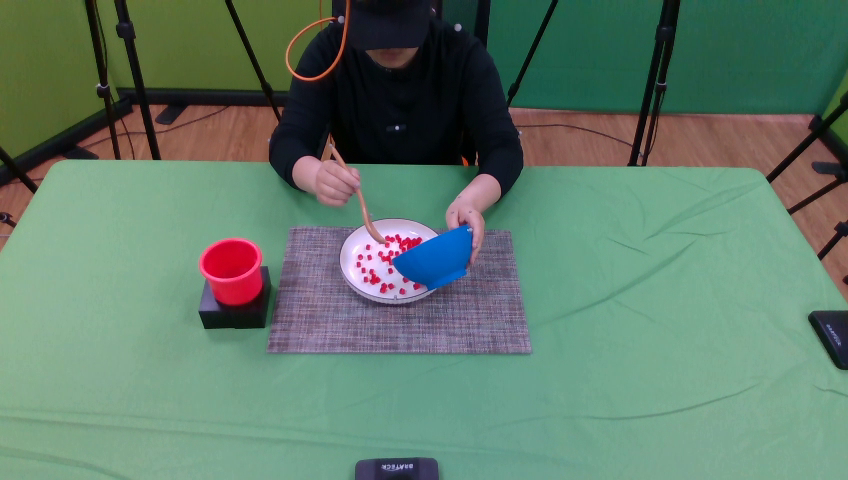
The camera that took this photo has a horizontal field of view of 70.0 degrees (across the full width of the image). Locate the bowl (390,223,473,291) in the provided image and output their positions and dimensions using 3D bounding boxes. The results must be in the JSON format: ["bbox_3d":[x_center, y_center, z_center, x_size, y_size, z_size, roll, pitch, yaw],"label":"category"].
[{"bbox_3d":[0.025,0.038,1.042,0.151,0.151,0.076,-23,85,-23],"label":"bowl"}]

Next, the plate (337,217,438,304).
[{"bbox_3d":[-0.058,0.042,1.137,0.208,0.039,0.206,2,46,-2],"label":"plate"}]

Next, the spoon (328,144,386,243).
[{"bbox_3d":[-0.115,-0.079,1.039,0.021,0.194,0.041,-24,3,8],"label":"spoon"}]
